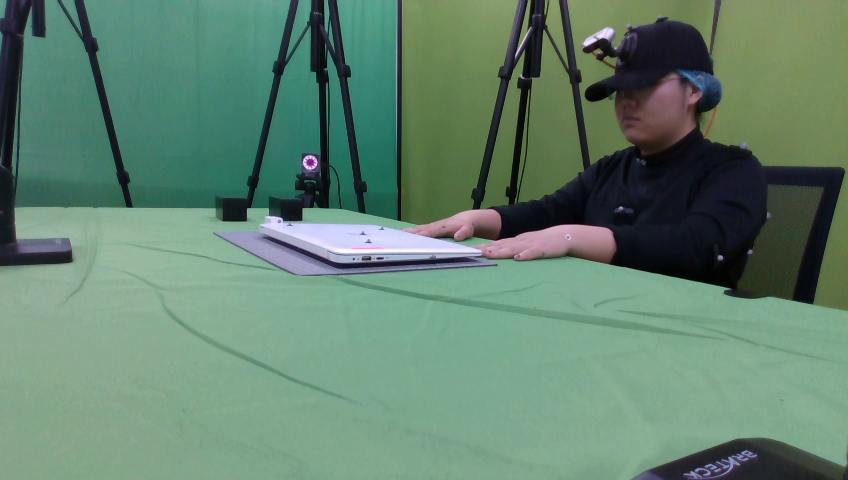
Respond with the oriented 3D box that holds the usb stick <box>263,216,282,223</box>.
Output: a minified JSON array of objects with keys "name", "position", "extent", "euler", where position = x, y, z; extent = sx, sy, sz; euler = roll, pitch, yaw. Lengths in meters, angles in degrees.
[{"name":"usb stick","position":[-0.269,-0.027,1.081],"extent":[0.021,0.027,0.059],"euler":[-2,11,-30]}]

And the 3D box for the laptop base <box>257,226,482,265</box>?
[{"name":"laptop base","position":[-0.102,0.007,0.962],"extent":[0.237,0.023,0.352],"euler":[2,6,-32]}]

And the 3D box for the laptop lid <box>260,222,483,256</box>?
[{"name":"laptop lid","position":[-0.099,-0.005,0.962],"extent":[0.243,0.013,0.355],"euler":[1,7,-30]}]
